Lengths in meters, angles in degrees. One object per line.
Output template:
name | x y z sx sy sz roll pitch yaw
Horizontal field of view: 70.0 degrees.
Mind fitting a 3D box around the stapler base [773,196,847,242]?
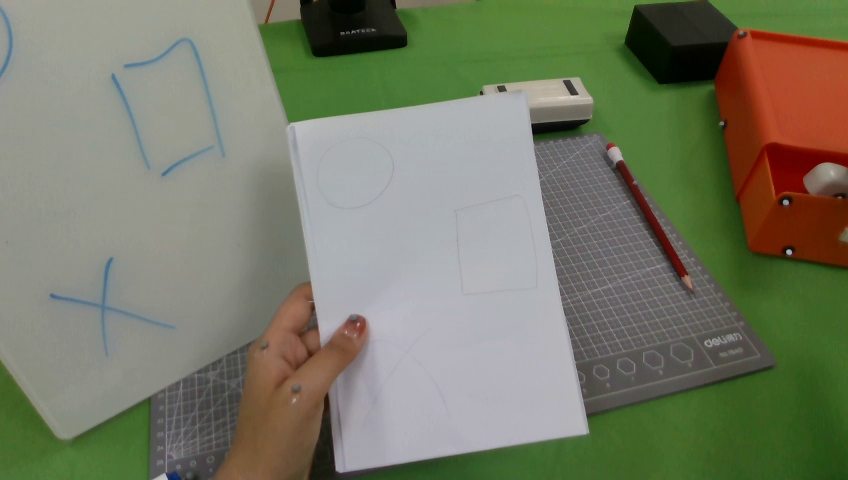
stapler base | 0.380 -0.018 0.537 0.130 0.024 0.041 13 47 -1

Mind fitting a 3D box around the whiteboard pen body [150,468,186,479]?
whiteboard pen body | -0.208 0.174 0.349 0.141 0.017 0.017 -25 52 -26

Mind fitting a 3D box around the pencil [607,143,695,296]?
pencil | 0.207 -0.025 0.561 0.012 0.012 0.192 -6 50 -8

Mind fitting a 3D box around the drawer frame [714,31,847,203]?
drawer frame | 0.413 -0.115 0.606 0.201 0.083 0.212 9 47 7

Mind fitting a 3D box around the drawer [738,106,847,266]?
drawer | 0.399 -0.068 0.565 0.194 0.074 0.210 9 46 7

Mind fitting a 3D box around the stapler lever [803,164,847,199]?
stapler lever | 0.385 -0.035 0.520 0.118 0.040 0.026 12 47 0

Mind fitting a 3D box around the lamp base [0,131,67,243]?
lamp base | -0.418 -0.100 0.490 0.178 0.182 0.160 19 49 18

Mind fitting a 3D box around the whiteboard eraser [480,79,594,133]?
whiteboard eraser | 0.120 -0.143 0.649 0.113 0.042 0.055 -6 48 -8

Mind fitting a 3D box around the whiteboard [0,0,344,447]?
whiteboard | -0.215 -0.061 0.416 0.217 0.308 0.142 -28 34 -24
